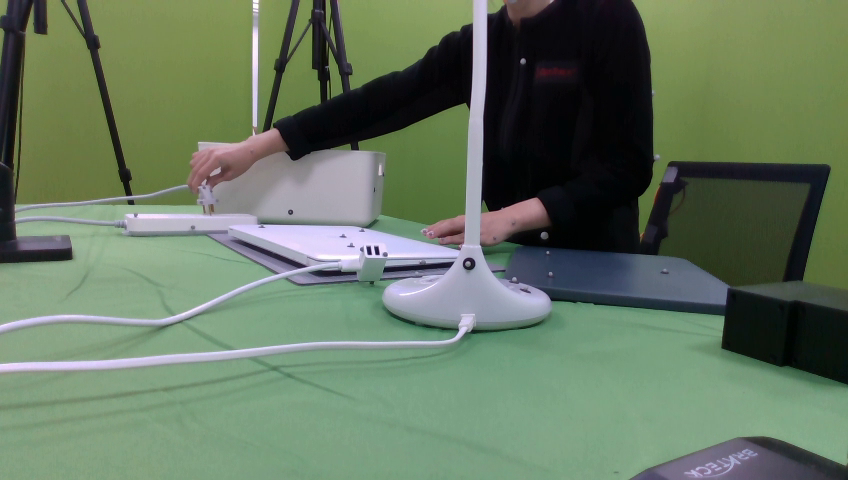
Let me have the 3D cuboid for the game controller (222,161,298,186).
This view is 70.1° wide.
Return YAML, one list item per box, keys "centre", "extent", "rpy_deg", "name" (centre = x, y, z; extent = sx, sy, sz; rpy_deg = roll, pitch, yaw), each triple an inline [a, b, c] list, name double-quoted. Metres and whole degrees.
- centre: [-0.357, -0.144, 1.321]
  extent: [0.156, 0.051, 0.097]
  rpy_deg: [1, 2, -16]
  name: "game controller"

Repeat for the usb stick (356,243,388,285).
- centre: [-0.058, 0.029, 0.658]
  extent: [0.027, 0.059, 0.021]
  rpy_deg: [-4, 53, -18]
  name: "usb stick"

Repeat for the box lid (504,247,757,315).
- centre: [0.244, 0.044, 0.793]
  extent: [0.263, 0.015, 0.372]
  rpy_deg: [4, 7, 10]
  name: "box lid"

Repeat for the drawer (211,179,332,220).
- centre: [-0.327, -0.095, 1.333]
  extent: [0.212, 0.073, 0.194]
  rpy_deg: [5, 9, 6]
  name: "drawer"

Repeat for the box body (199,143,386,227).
- centre: [-0.276, -0.124, 1.335]
  extent: [0.364, 0.160, 0.254]
  rpy_deg: [3, 7, 1]
  name: "box body"

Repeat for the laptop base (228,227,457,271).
- centre: [-0.122, 0.011, 0.889]
  extent: [0.237, 0.023, 0.352]
  rpy_deg: [2, 6, -35]
  name: "laptop base"

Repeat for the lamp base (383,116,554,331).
- centre: [0.045, -0.019, 0.547]
  extent: [0.161, 0.180, 0.179]
  rpy_deg: [2, 10, -4]
  name: "lamp base"

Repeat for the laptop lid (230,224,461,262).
- centre: [-0.119, 0.000, 0.889]
  extent: [0.243, 0.013, 0.355]
  rpy_deg: [1, 7, -33]
  name: "laptop lid"

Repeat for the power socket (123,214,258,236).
- centre: [-0.398, -0.028, 1.049]
  extent: [0.228, 0.032, 0.072]
  rpy_deg: [-3, 8, -34]
  name: "power socket"

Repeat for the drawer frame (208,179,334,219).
- centre: [-0.326, -0.093, 1.328]
  extent: [0.213, 0.082, 0.202]
  rpy_deg: [-1, 5, 6]
  name: "drawer frame"

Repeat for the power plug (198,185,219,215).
- centre: [-0.387, -0.072, 1.087]
  extent: [0.035, 0.052, 0.072]
  rpy_deg: [-8, 12, -16]
  name: "power plug"
